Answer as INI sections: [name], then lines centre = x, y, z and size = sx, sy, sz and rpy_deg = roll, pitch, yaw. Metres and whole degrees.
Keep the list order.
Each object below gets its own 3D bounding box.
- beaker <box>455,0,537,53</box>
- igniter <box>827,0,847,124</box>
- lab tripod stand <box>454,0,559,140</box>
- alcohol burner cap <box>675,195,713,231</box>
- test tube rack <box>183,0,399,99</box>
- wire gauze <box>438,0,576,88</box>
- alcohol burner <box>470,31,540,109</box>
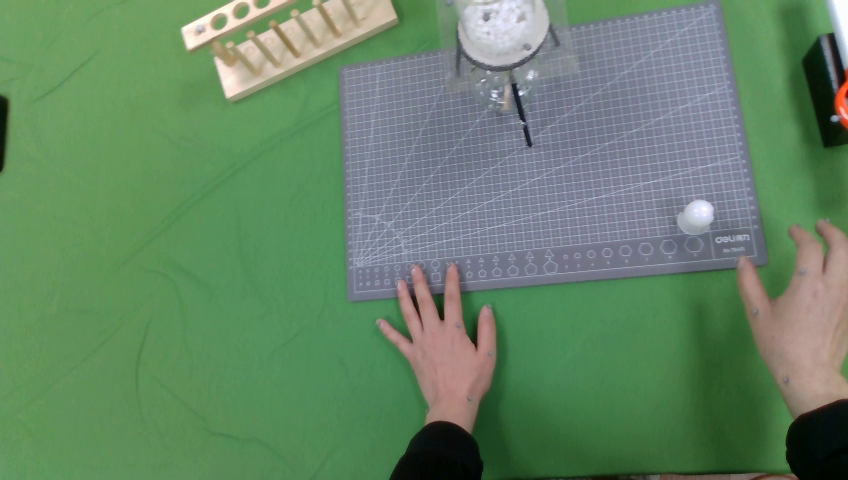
[beaker]
centre = 0.060, -0.218, 0.535
size = 0.083, 0.101, 0.074
rpy_deg = 7, 81, 15
[igniter]
centre = 0.414, -0.158, 0.569
size = 0.057, 0.025, 0.275
rpy_deg = -7, 75, 15
[lab tripod stand]
centre = 0.091, -0.195, 0.643
size = 0.148, 0.132, 0.148
rpy_deg = -2, 79, 11
[alcohol burner cap]
centre = 0.276, -0.030, 0.616
size = 0.034, 0.048, 0.033
rpy_deg = -3, 77, 12
[test tube rack]
centre = -0.161, -0.268, 0.745
size = 0.242, 0.086, 0.066
rpy_deg = -23, 75, 8
[wire gauze]
centre = 0.076, -0.209, 0.580
size = 0.125, 0.011, 0.121
rpy_deg = -6, 81, 9
[alcohol burner]
centre = 0.086, -0.189, 0.653
size = 0.078, 0.120, 0.077
rpy_deg = -2, 78, 11
